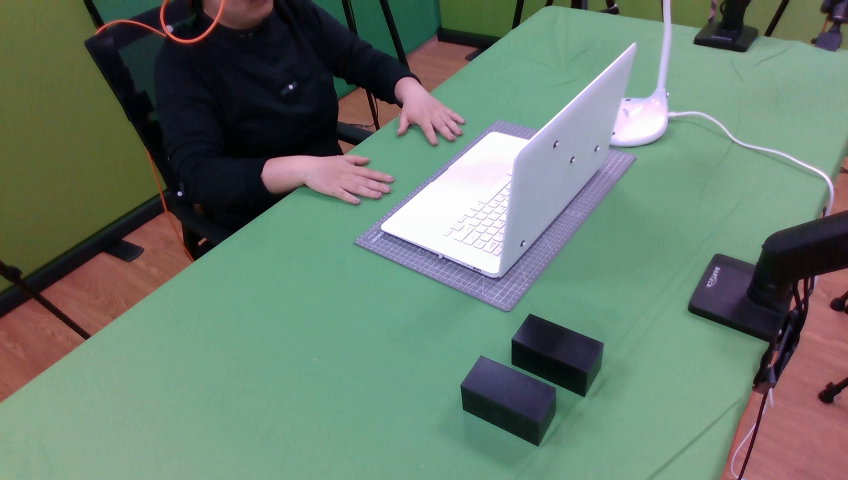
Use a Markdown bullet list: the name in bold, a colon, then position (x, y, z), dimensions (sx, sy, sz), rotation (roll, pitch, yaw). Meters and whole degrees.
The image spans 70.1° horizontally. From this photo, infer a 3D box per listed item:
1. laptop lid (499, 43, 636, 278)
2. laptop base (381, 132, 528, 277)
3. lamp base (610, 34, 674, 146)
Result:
- **laptop lid**: position (0.217, -0.121, 0.898), dimensions (0.013, 0.242, 0.358), rotation (28, 50, 25)
- **laptop base**: position (0.122, -0.077, 1.043), dimensions (0.233, 0.023, 0.355), rotation (20, 47, 33)
- **lamp base**: position (0.392, -0.291, 1.129), dimensions (0.180, 0.181, 0.159), rotation (-11, 41, -8)
